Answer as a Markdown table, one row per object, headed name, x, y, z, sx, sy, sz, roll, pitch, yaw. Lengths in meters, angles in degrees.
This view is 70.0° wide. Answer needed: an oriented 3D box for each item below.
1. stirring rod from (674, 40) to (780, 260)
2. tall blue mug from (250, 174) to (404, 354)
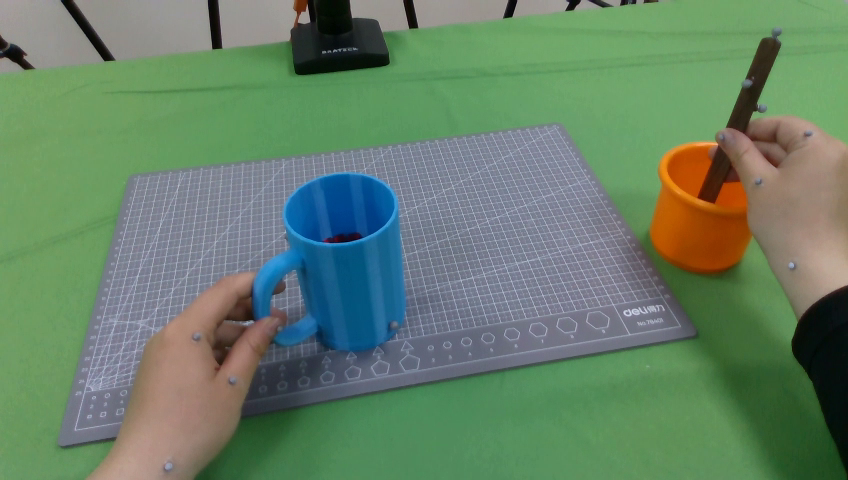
| name | x | y | z | sx | sy | sz | roll | pitch | yaw |
| --- | --- | --- | --- | --- | --- | --- | --- | --- | --- |
| stirring rod | 0.224 | -0.060 | 0.456 | 0.014 | 0.177 | 0.006 | 32 | 38 | 33 |
| tall blue mug | -0.060 | 0.029 | 0.422 | 0.077 | 0.109 | 0.106 | 14 | 45 | 15 |
